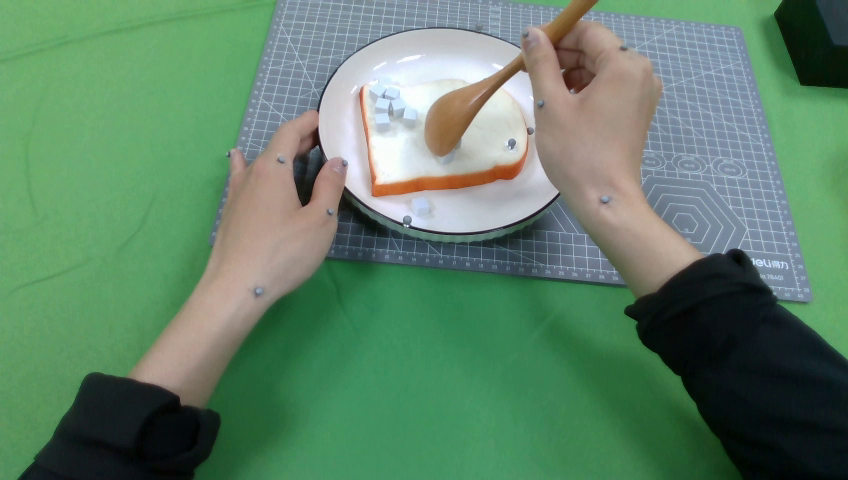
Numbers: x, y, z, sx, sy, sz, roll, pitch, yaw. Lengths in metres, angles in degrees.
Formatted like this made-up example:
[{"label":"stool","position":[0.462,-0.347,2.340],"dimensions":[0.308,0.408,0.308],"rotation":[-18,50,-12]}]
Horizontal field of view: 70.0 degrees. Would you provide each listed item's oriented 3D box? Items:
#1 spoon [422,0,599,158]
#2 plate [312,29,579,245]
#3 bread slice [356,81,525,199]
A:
[{"label":"spoon","position":[0.060,-0.119,0.403],"dimensions":[0.022,0.194,0.041],"rotation":[7,56,-47]},{"label":"plate","position":[0.017,-0.083,0.482],"dimensions":[0.209,0.038,0.207],"rotation":[2,60,-4]},{"label":"bread slice","position":[0.015,-0.087,0.487],"dimensions":[0.132,0.019,0.104],"rotation":[-8,61,-9]}]
